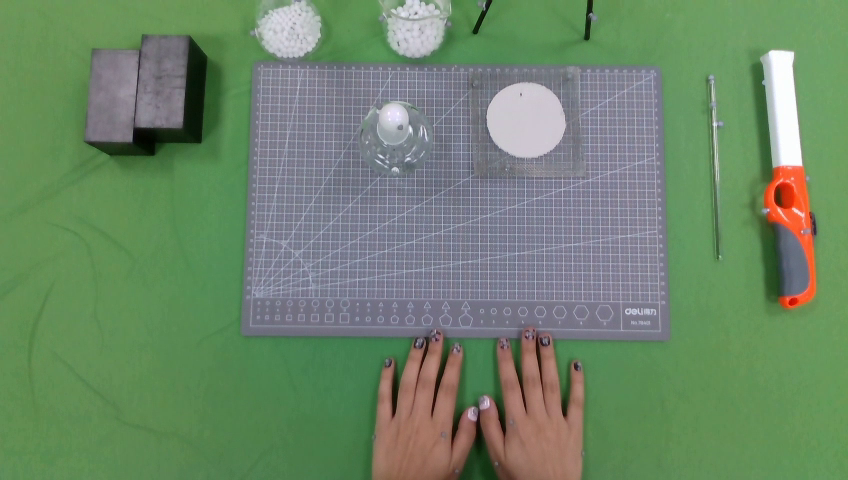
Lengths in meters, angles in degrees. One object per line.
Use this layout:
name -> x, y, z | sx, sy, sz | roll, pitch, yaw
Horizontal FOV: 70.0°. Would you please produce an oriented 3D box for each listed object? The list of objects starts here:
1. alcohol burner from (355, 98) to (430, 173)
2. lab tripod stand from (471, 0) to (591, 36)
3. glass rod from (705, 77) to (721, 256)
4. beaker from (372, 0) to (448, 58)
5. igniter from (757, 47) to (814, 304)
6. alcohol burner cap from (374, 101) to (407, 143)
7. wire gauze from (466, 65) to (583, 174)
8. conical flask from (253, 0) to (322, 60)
alcohol burner -> -0.032, -0.109, 0.605 | 0.078, 0.119, 0.077 | 0, 85, -1
lab tripod stand -> 0.118, -0.274, 0.618 | 0.148, 0.131, 0.148 | 0, 85, 1
glass rod -> 0.314, -0.082, 0.658 | 0.008, 0.008, 0.199 | 0, 83, 0
beaker -> -0.011, -0.239, 0.631 | 0.084, 0.100, 0.074 | 36, 85, 4
igniter -> 0.384, -0.071, 0.648 | 0.057, 0.025, 0.275 | 0, 84, -10
alcohol burner cap -> -0.031, -0.114, 0.569 | 0.034, 0.048, 0.034 | 1, 83, -6
wire gauze -> 0.110, -0.131, 0.661 | 0.125, 0.011, 0.121 | -1, 84, -2
conical flask -> -0.151, -0.242, 0.619 | 0.075, 0.122, 0.075 | 0, 83, 0
